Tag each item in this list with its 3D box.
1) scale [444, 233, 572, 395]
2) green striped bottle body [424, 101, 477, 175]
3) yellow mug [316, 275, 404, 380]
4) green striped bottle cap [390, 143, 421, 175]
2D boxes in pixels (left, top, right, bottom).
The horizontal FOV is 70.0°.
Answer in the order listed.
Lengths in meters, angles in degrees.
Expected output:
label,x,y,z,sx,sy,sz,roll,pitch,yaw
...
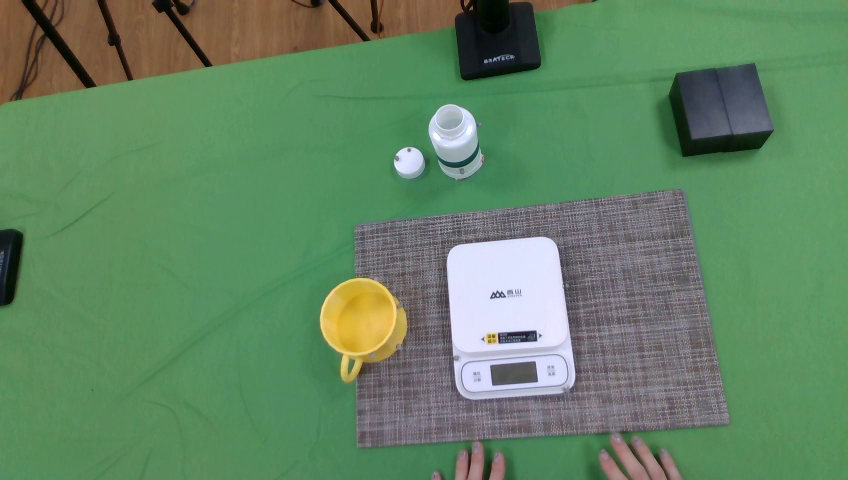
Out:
label,x,y,z,sx,sy,sz,roll,pitch,yaw
scale,0.104,0.092,0.774,0.148,0.032,0.199,-6,72,8
green striped bottle body,0.037,-0.140,0.817,0.063,0.120,0.063,-3,71,9
yellow mug,-0.086,0.116,0.779,0.099,0.064,0.130,12,75,14
green striped bottle cap,-0.027,-0.118,0.877,0.044,0.020,0.044,-2,78,8
